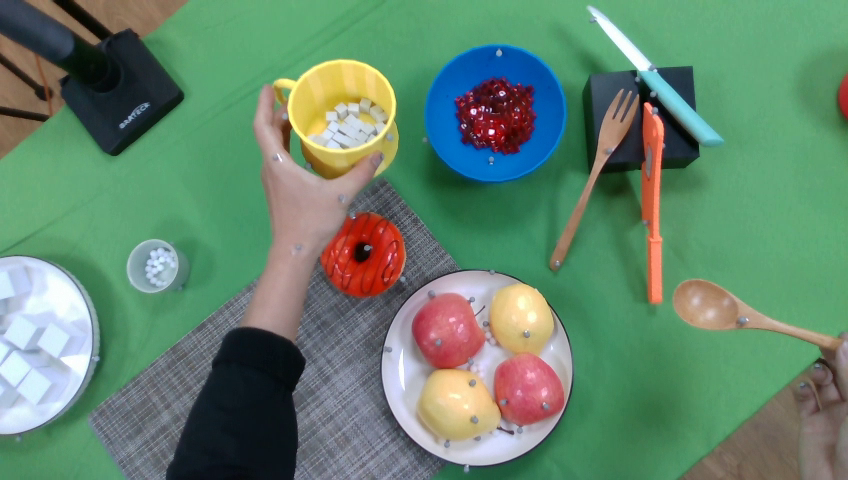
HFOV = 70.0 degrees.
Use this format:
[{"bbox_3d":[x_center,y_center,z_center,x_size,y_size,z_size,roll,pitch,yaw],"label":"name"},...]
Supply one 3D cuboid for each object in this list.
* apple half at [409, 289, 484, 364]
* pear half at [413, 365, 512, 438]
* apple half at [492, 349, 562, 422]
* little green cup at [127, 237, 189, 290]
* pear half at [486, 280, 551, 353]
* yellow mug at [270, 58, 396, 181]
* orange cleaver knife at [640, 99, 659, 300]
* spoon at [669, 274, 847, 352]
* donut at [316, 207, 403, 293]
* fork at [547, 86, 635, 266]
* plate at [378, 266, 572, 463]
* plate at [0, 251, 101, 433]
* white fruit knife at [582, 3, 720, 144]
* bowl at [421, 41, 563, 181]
[{"bbox_3d":[0.022,0.095,0.651,0.074,0.053,0.080,-22,86,3],"label":"apple half"},{"bbox_3d":[0.045,0.179,0.643,0.110,0.056,0.076,23,90,3],"label":"pear half"},{"bbox_3d":[0.101,0.156,0.638,0.081,0.033,0.081,2,96,25],"label":"apple half"},{"bbox_3d":[-0.308,0.030,0.708,0.061,0.039,0.061,-1,83,6],"label":"little green cup"},{"bbox_3d":[0.098,0.088,0.649,0.070,0.031,0.088,-10,93,27],"label":"pear half"},{"bbox_3d":[-0.093,-0.122,0.588,0.130,0.064,0.099,24,72,8],"label":"yellow mug"},{"bbox_3d":[0.240,-0.041,0.647,0.012,0.077,0.212,-4,109,9],"label":"orange cleaver knife"},{"bbox_3d":[0.297,0.071,0.487,0.192,0.022,0.041,18,75,21],"label":"spoon"},{"bbox_3d":[-0.073,0.012,0.683,0.099,0.048,0.099,0,86,6],"label":"donut"},{"bbox_3d":[0.175,-0.063,0.653,0.028,0.018,0.208,19,106,-2],"label":"fork"},{"bbox_3d":[0.055,0.132,0.662,0.209,0.038,0.208,0,83,4],"label":"plate"},{"bbox_3d":[-0.475,0.118,0.712,0.207,0.039,0.207,-1,84,5],"label":"plate"},{"bbox_3d":[0.238,-0.180,0.648,0.027,0.016,0.206,-33,78,-29],"label":"white fruit knife"},{"bbox_3d":[0.074,-0.133,0.674,0.151,0.077,0.151,0,84,4],"label":"bowl"}]
